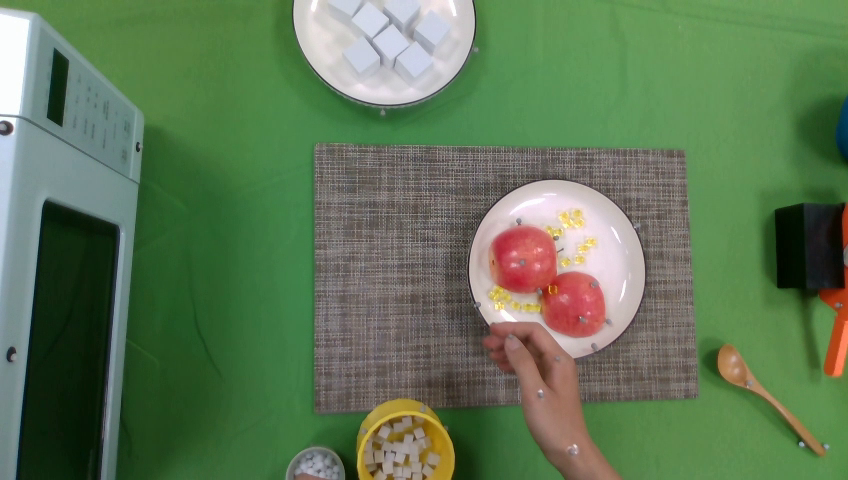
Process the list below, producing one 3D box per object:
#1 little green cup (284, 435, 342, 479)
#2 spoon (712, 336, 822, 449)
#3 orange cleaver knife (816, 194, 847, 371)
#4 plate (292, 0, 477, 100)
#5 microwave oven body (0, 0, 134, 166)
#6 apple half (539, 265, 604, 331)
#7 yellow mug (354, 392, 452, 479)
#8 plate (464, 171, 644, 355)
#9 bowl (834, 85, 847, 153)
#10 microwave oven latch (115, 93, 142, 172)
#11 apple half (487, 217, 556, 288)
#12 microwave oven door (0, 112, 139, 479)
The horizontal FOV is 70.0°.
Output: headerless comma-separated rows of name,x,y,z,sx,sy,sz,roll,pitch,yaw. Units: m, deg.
little green cup,-0.117,0.239,0.647,0.061,0.038,0.061,0,86,-5
spoon,0.413,0.187,0.727,0.194,0.021,0.041,43,65,-2
orange cleaver knife,0.493,0.052,0.718,0.012,0.076,0.212,1,109,-3
plate,-0.044,-0.259,0.698,0.208,0.039,0.207,1,85,-7
microwave oven body,-0.457,0.047,0.505,0.327,0.260,0.440,3,86,-7
apple half,0.171,0.066,0.688,0.081,0.033,0.081,1,82,-6
yellow mug,-0.027,0.233,0.645,0.100,0.064,0.130,12,87,-7
plate,0.146,0.026,0.695,0.209,0.038,0.208,1,86,-7
bowl,0.568,-0.147,0.745,0.152,0.077,0.151,1,86,-7
microwave oven latch,-0.313,-0.113,0.632,0.030,0.029,0.079,4,86,-7
apple half,0.111,0.013,0.675,0.075,0.053,0.080,-2,86,-5
microwave oven door,-0.313,0.097,0.514,0.039,0.244,0.355,3,85,-6
